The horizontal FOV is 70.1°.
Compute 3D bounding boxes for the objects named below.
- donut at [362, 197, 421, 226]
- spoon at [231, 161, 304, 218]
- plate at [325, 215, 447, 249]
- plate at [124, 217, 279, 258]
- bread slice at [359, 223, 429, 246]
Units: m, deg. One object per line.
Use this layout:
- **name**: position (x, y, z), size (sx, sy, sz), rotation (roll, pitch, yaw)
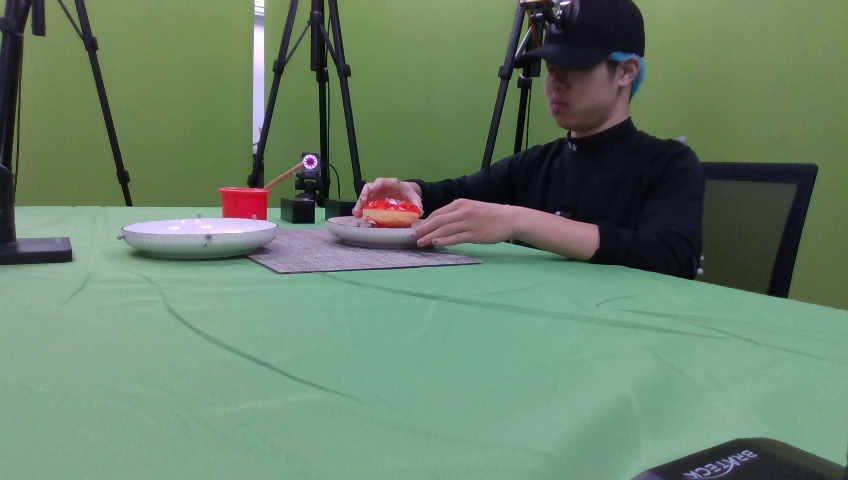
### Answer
- **donut**: position (-0.055, -0.048, 1.024), size (0.099, 0.048, 0.099), rotation (3, 7, 0)
- **spoon**: position (-0.314, -0.096, 1.192), size (0.194, 0.022, 0.041), rotation (-42, 13, -5)
- **plate**: position (-0.065, -0.015, 1.035), size (0.209, 0.038, 0.209), rotation (3, 8, 0)
- **plate**: position (-0.315, -0.004, 0.870), size (0.208, 0.039, 0.207), rotation (1, 8, 0)
- **bread slice**: position (-0.061, -0.011, 1.035), size (0.105, 0.019, 0.131), rotation (0, 12, -20)
